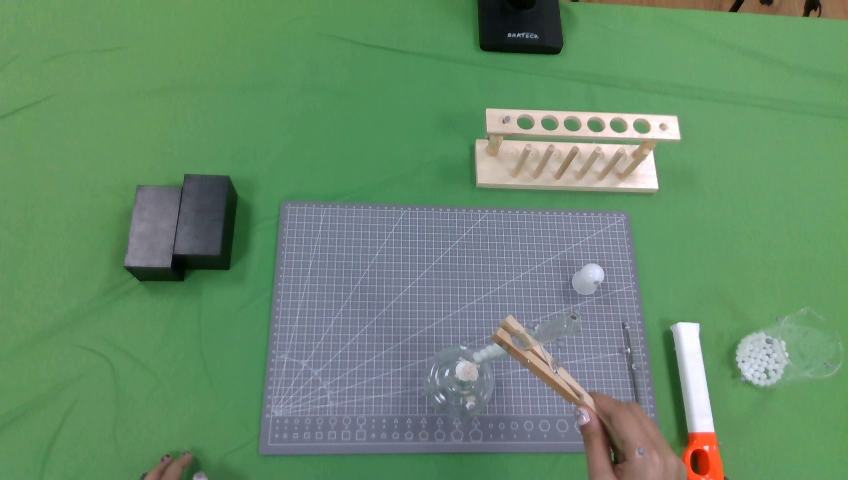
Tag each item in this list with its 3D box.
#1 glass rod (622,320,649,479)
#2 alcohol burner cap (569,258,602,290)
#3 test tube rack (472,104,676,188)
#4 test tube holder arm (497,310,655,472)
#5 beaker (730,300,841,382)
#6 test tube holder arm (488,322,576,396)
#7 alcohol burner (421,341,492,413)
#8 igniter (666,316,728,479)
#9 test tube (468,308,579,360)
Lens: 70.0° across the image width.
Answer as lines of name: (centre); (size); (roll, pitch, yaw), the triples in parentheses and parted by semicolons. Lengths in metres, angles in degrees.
glass rod: (0.246, 0.191, 0.706); (0.008, 0.008, 0.198); (1, 69, -6)
alcohol burner cap: (0.200, 0.039, 0.740); (0.034, 0.048, 0.033); (2, 69, -5)
test tube rack: (0.189, -0.118, 0.777); (0.243, 0.085, 0.066); (1, 69, -5)
test tube holder arm: (0.127, 0.127, 0.507); (0.178, 0.015, 0.013); (45, 61, 0)
beaker: (0.413, 0.121, 0.704); (0.074, 0.101, 0.083); (14, 68, 0)
test tube holder arm: (0.091, 0.100, 0.503); (0.088, 0.015, 0.010); (38, 60, -3)
alcohol burner: (0.037, 0.142, 0.646); (0.078, 0.120, 0.077); (2, 67, -4)
igniter: (0.313, 0.224, 0.693); (0.057, 0.025, 0.274); (5, 69, -15)
test tube: (0.076, 0.081, 0.504); (0.017, 0.150, 0.017); (10, 66, -23)
